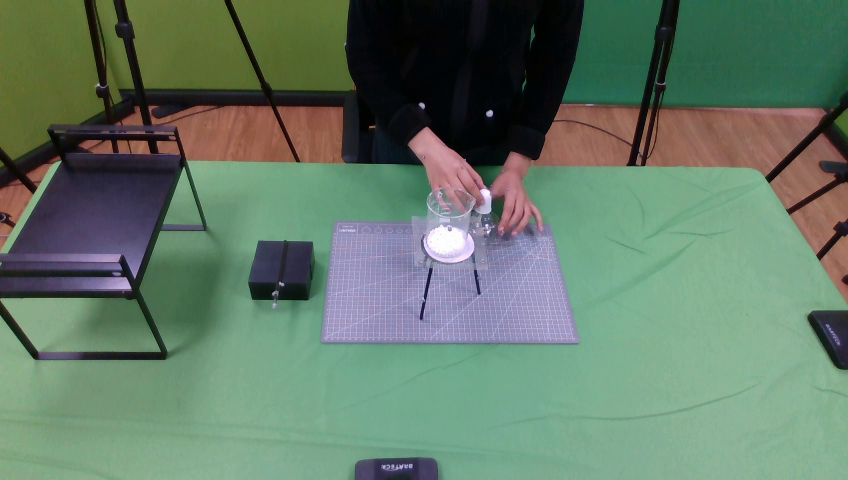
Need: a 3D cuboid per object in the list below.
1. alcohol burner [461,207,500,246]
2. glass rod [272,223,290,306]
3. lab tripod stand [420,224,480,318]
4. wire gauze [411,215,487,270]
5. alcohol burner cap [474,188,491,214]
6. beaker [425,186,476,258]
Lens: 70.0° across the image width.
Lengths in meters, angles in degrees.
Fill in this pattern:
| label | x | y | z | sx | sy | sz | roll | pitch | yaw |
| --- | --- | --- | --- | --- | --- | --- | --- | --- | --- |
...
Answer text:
| label | x | y | z | sx | sy | sz | roll | pitch | yaw |
| --- | --- | --- | --- | --- | --- | --- | --- | --- | --- |
| alcohol burner | 0.112 | -0.046 | 1.184 | 0.078 | 0.120 | 0.077 | 1 | 44 | -1 |
| glass rod | -0.255 | 0.039 | 1.084 | 0.008 | 0.008 | 0.198 | 1 | 46 | -3 |
| lab tripod stand | 0.034 | 0.052 | 1.070 | 0.148 | 0.132 | 0.147 | 3 | 48 | -3 |
| wire gauze | 0.041 | 0.003 | 1.026 | 0.125 | 0.011 | 0.120 | 0 | 46 | -1 |
| alcohol burner cap | 0.113 | -0.078 | 1.156 | 0.034 | 0.048 | 0.033 | 3 | 41 | -2 |
| beaker | 0.041 | -0.027 | 0.989 | 0.084 | 0.101 | 0.073 | -12 | 48 | -15 |
